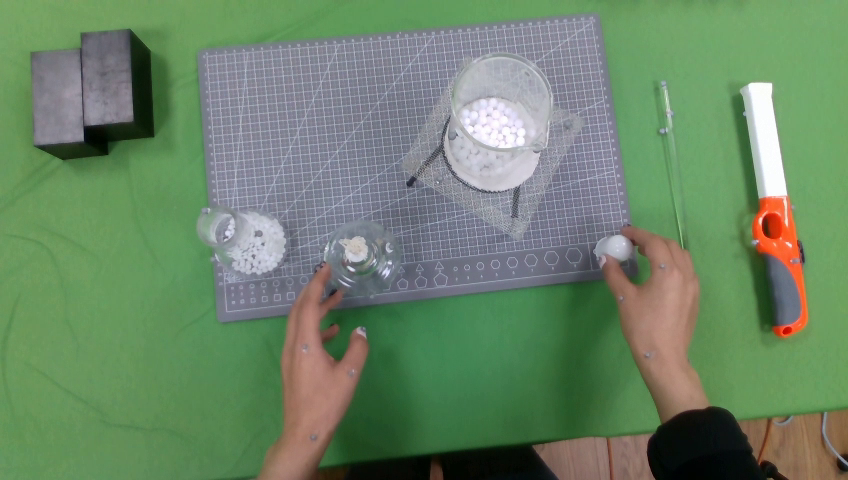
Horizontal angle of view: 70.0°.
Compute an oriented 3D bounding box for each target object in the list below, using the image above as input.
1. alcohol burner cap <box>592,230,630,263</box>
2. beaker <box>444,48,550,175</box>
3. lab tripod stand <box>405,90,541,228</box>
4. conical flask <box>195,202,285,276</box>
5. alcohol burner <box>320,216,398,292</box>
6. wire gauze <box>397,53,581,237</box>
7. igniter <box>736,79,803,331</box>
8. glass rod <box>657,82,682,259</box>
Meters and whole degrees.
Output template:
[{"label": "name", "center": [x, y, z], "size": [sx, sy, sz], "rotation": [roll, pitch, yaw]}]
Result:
[{"label": "alcohol burner cap", "center": [0.197, 0.005, 0.630], "size": [0.034, 0.048, 0.033], "rotation": [0, 81, -1]}, {"label": "beaker", "center": [0.055, -0.094, 0.484], "size": [0.084, 0.100, 0.074], "rotation": [44, 84, 4]}, {"label": "lab tripod stand", "center": [0.053, -0.079, 0.596], "size": [0.148, 0.131, 0.148], "rotation": [0, 84, -1]}, {"label": "conical flask", "center": [-0.182, -0.007, 0.584], "size": [0.075, 0.122, 0.075], "rotation": [0, 83, -2]}, {"label": "alcohol burner", "center": [-0.065, 0.012, 0.591], "size": [0.078, 0.119, 0.077], "rotation": [0, 83, 0]}, {"label": "wire gauze", "center": [0.057, -0.085, 0.531], "size": [0.125, 0.011, 0.121], "rotation": [31, 86, 0]}, {"label": "igniter", "center": [0.375, -0.041, 0.659], "size": [0.057, 0.025, 0.275], "rotation": [-3, 83, -13]}, {"label": "glass rod", "center": [0.271, -0.078, 0.669], "size": [0.008, 0.008, 0.199], "rotation": [-5, 86, -3]}]
